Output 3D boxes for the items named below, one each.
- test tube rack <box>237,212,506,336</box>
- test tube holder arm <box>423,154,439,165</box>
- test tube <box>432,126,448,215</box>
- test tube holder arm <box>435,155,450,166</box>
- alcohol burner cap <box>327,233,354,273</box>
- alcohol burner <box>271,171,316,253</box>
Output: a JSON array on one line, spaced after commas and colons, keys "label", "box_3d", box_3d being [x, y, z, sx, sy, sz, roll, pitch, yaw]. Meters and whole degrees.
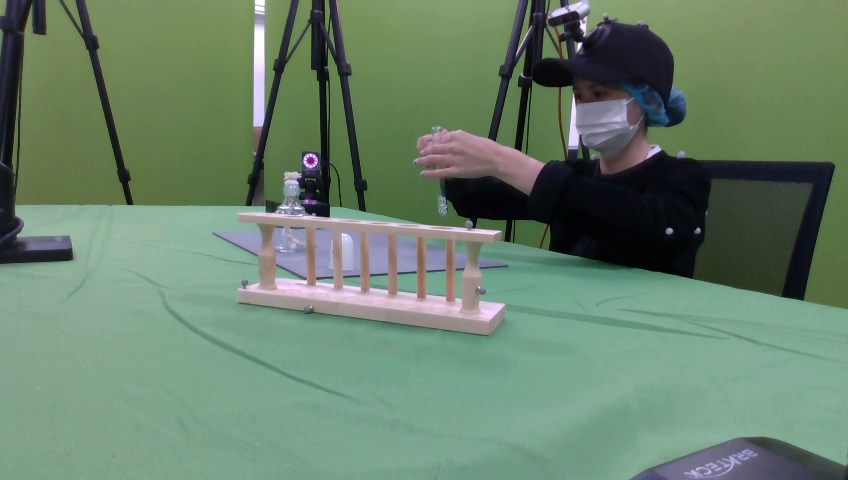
[{"label": "test tube rack", "box_3d": [-0.049, 0.024, 0.552, 0.242, 0.085, 0.067, 5, 8, 18]}, {"label": "test tube holder arm", "box_3d": [0.011, -0.144, 1.066, 0.013, 0.015, 0.178, 13, 8, -9]}, {"label": "test tube", "box_3d": [0.027, -0.115, 1.006, 0.017, 0.150, 0.017, -5, 14, 2]}, {"label": "test tube holder arm", "box_3d": [0.025, -0.135, 1.024, 0.010, 0.015, 0.087, 10, 8, -19]}, {"label": "alcohol burner cap", "box_3d": [-0.104, 0.016, 0.751, 0.034, 0.048, 0.034, 3, 6, 0]}, {"label": "alcohol burner", "box_3d": [-0.196, -0.041, 0.884, 0.078, 0.119, 0.078, 3, 5, 0]}]
